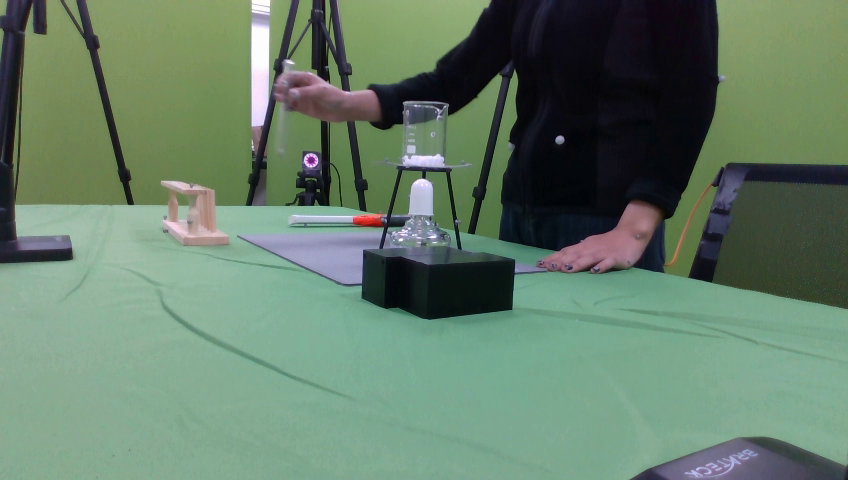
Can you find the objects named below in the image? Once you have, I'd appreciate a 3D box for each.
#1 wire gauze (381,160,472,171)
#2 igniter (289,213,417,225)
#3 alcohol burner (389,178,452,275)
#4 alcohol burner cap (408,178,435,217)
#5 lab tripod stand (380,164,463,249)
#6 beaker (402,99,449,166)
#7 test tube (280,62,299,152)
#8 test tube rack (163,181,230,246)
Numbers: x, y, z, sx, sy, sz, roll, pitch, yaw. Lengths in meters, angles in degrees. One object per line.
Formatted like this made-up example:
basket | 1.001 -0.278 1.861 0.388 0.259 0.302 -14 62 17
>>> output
wire gauze | -0.004 -0.120 0.959 0.122 0.011 0.124 -5 13 -33
igniter | -0.144 -0.044 1.275 0.278 0.025 0.057 -1 -2 -27
alcohol burner | -0.004 -0.017 0.749 0.078 0.119 0.078 1 9 0
alcohol burner cap | -0.002 -0.053 0.746 0.034 0.048 0.034 2 3 0
lab tripod stand | -0.003 -0.055 0.967 0.148 0.131 0.148 2 9 0
beaker | 0.003 -0.168 0.957 0.073 0.100 0.084 8 11 35
test tube | -0.224 -0.221 1.007 0.017 0.150 0.017 8 4 0
test tube rack | -0.387 -0.050 1.015 0.067 0.085 0.241 -2 9 -30
